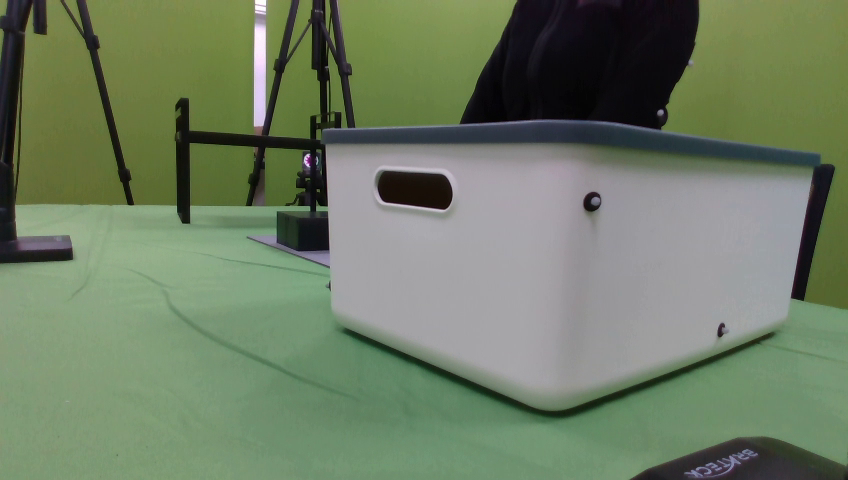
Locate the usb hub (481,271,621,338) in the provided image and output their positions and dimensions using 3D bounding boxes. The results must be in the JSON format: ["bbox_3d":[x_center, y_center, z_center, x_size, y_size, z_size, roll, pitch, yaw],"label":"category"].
[{"bbox_3d":[0.112,0.053,0.526,0.126,0.025,0.049,-10,16,-33],"label":"usb hub"}]

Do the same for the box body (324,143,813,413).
[{"bbox_3d":[0.125,0.000,0.510,0.366,0.160,0.253,-4,9,-41],"label":"box body"}]

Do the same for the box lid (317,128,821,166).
[{"bbox_3d":[0.129,-0.074,0.501,0.374,0.015,0.262,-4,11,-40],"label":"box lid"}]
